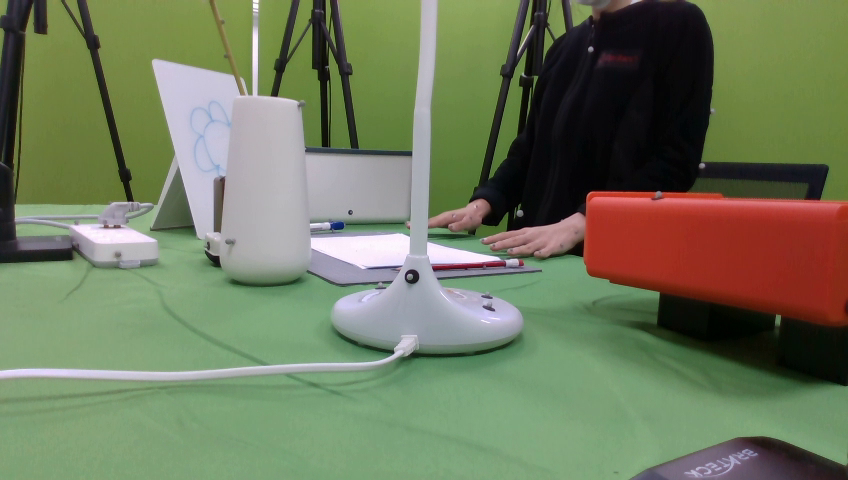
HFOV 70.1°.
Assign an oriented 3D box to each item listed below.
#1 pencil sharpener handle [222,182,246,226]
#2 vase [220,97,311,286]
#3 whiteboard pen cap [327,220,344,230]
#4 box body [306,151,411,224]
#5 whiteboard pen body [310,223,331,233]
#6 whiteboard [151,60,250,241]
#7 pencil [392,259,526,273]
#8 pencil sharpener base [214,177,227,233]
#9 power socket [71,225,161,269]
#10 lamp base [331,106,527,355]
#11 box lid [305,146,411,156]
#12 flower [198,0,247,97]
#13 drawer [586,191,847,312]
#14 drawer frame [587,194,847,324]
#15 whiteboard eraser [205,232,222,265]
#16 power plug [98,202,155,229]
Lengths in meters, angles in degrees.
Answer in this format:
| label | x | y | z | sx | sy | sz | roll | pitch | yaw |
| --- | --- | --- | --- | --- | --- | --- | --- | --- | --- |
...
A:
| label | x | y | z | sx | sy | sz | roll | pitch | yaw |
| --- | --- | --- | --- | --- | --- | --- | --- | --- | --- |
| pencil sharpener handle | -0.289 | -0.055 | 0.912 | 0.036 | 0.067 | 0.030 | -3 | 9 | -29 |
| vase | -0.172 | -0.052 | 0.662 | 0.098 | 0.200 | 0.098 | 3 | 8 | 0 |
| whiteboard pen cap | -0.166 | -0.027 | 1.124 | 0.018 | 0.018 | 0.033 | 9 | 10 | 41 |
| box body | -0.230 | -0.126 | 1.371 | 0.366 | 0.160 | 0.253 | -2 | 8 | -33 |
| whiteboard pen body | -0.207 | -0.021 | 1.081 | 0.017 | 0.017 | 0.141 | 9 | 10 | 41 |
| whiteboard | -0.408 | -0.139 | 1.093 | 0.143 | 0.305 | 0.218 | -15 | -1 | 26 |
| pencil | 0.049 | 0.035 | 0.782 | 0.195 | 0.012 | 0.012 | -2 | 9 | -25 |
| pencil sharpener base | -0.265 | -0.036 | 0.870 | 0.061 | 0.107 | 0.076 | -2 | 8 | -29 |
| power socket | -0.408 | 0.004 | 0.793 | 0.072 | 0.032 | 0.225 | -2 | 8 | -38 |
| lamp base | 0.006 | -0.012 | 0.478 | 0.161 | 0.180 | 0.179 | 2 | 10 | 2 |
| box lid | -0.229 | -0.200 | 1.361 | 0.373 | 0.015 | 0.262 | -3 | 9 | -32 |
| flower | -0.187 | -0.133 | 0.648 | 0.038 | 0.362 | 0.044 | -1 | 22 | 43 |
| drawer | 0.281 | 0.001 | 0.512 | 0.195 | 0.073 | 0.210 | -1 | 8 | -29 |
| drawer frame | 0.285 | 0.004 | 0.508 | 0.203 | 0.082 | 0.212 | -1 | 6 | -29 |
| whiteboard eraser | -0.219 | 0.010 | 0.778 | 0.113 | 0.042 | 0.055 | -3 | 7 | -33 |
| power plug | -0.416 | -0.027 | 0.848 | 0.073 | 0.052 | 0.035 | 0 | 8 | -28 |
